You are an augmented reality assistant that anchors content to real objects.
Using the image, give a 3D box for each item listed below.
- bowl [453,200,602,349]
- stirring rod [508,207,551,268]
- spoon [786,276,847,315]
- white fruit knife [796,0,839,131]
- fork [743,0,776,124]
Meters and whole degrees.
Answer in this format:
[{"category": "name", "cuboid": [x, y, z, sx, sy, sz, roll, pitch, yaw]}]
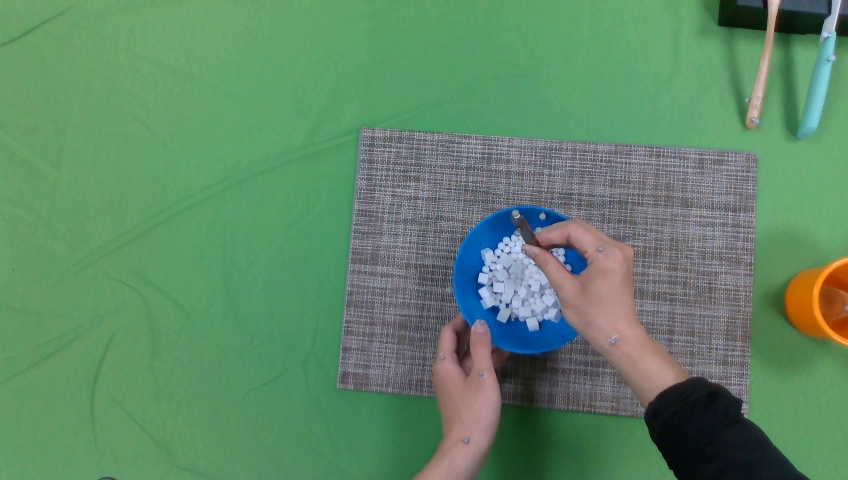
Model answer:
[{"category": "bowl", "cuboid": [0.106, 0.038, 0.643, 0.151, 0.077, 0.151, 0, 85, 3]}, {"category": "stirring rod", "cuboid": [0.104, 0.001, 0.579, 0.014, 0.177, 0.006, 16, 79, 24]}, {"category": "spoon", "cuboid": [0.466, 0.060, 0.594, 0.022, 0.192, 0.041, 10, 84, -41]}, {"category": "white fruit knife", "cuboid": [0.431, -0.222, 0.650, 0.016, 0.027, 0.208, 5, 102, 1]}, {"category": "fork", "cuboid": [0.369, -0.231, 0.654, 0.028, 0.018, 0.208, 2, 105, 0]}]
